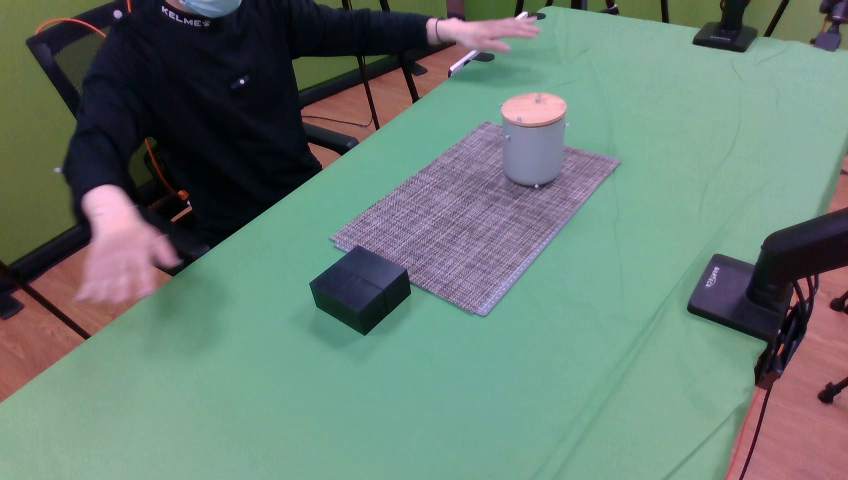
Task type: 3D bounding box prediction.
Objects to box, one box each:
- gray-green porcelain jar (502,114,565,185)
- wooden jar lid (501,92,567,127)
[{"bbox_3d":[0.189,-0.168,1.051,0.106,0.127,0.105,-4,41,4],"label":"gray-green porcelain jar"},{"bbox_3d":[0.183,-0.214,1.010,0.108,0.021,0.108,-5,40,5],"label":"wooden jar lid"}]
